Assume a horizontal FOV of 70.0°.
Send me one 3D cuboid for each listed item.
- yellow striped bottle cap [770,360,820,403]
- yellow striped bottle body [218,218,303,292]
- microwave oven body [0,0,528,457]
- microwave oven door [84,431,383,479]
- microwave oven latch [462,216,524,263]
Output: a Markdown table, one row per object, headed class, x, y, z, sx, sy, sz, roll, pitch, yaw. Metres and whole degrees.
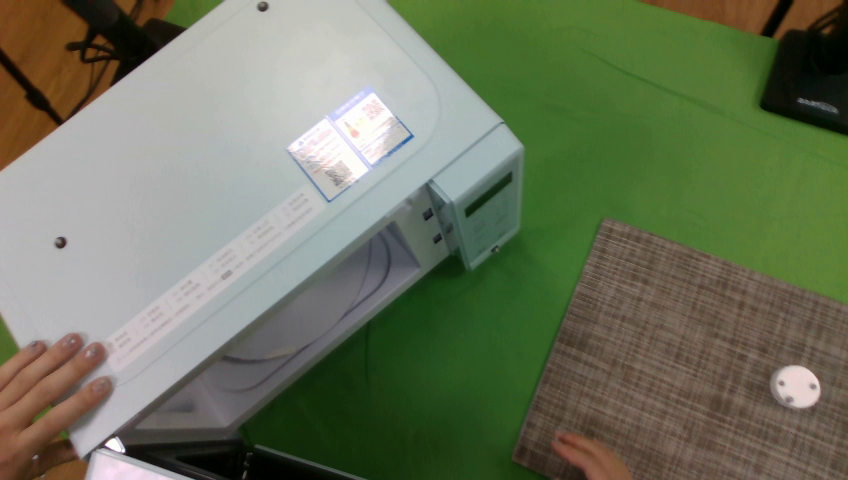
| class | x | y | z | sx | sy | sz | roll | pitch | yaw |
| --- | --- | --- | --- | --- | --- | --- | --- | --- | --- |
| yellow striped bottle cap | 0.395 | 0.151 | 0.644 | 0.044 | 0.019 | 0.044 | -3 | 74 | 9 |
| yellow striped bottle body | -0.173 | 0.015 | 0.638 | 0.063 | 0.121 | 0.062 | -1 | 76 | 4 |
| microwave oven body | -0.162 | -0.032 | 0.642 | 0.441 | 0.262 | 0.324 | -39 | 74 | -3 |
| microwave oven door | -0.078 | 0.243 | 0.549 | 0.355 | 0.245 | 0.039 | 13 | 76 | 11 |
| microwave oven latch | 0.080 | -0.009 | 0.704 | 0.079 | 0.030 | 0.030 | -37 | 73 | -3 |
